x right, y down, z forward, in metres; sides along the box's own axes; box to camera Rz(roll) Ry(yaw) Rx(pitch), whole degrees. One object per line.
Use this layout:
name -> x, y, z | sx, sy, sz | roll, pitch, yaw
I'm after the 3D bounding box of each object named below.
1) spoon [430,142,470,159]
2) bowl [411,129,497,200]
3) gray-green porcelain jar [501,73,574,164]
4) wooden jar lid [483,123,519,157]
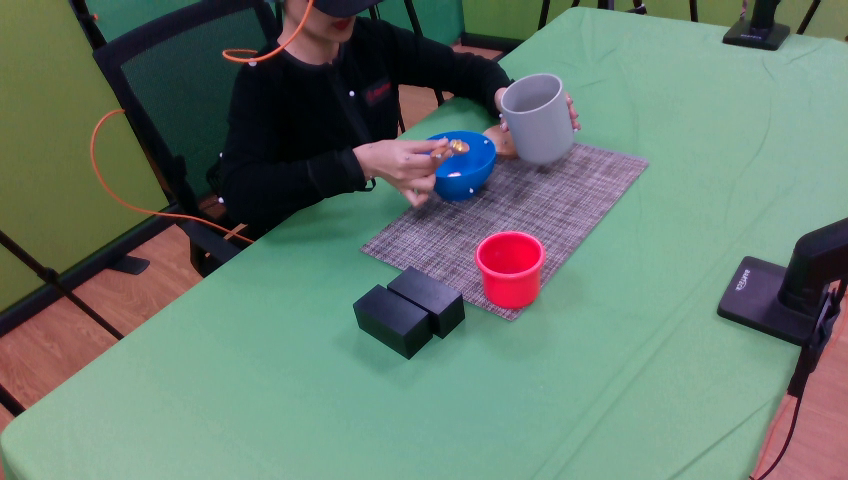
spoon -> 0.038, -0.145, 0.968 | 0.041, 0.021, 0.194 | 16, 13, 13
bowl -> 0.056, -0.124, 1.069 | 0.151, 0.077, 0.150 | -5, 40, 5
gray-green porcelain jar -> 0.199, -0.203, 1.040 | 0.105, 0.127, 0.105 | -14, 44, 15
wooden jar lid -> 0.165, -0.194, 1.177 | 0.108, 0.021, 0.108 | -4, 40, 4
